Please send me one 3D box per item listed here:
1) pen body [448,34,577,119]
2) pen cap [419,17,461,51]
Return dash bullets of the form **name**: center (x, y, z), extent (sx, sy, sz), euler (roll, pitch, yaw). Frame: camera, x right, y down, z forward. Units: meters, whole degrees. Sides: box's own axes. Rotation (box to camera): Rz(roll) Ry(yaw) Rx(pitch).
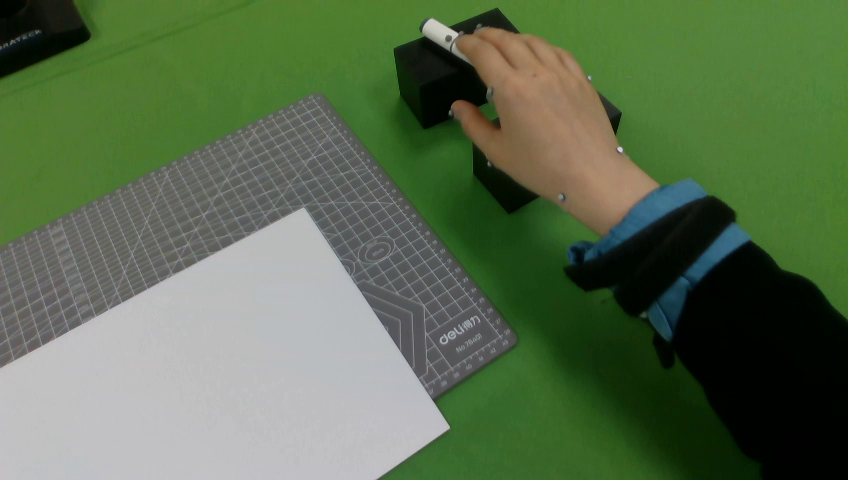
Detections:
- **pen body**: center (0.057, -0.133, 0.470), extent (0.017, 0.017, 0.143), euler (-41, 63, -20)
- **pen cap**: center (0.013, -0.169, 0.496), extent (0.038, 0.017, 0.017), euler (39, 68, 24)
